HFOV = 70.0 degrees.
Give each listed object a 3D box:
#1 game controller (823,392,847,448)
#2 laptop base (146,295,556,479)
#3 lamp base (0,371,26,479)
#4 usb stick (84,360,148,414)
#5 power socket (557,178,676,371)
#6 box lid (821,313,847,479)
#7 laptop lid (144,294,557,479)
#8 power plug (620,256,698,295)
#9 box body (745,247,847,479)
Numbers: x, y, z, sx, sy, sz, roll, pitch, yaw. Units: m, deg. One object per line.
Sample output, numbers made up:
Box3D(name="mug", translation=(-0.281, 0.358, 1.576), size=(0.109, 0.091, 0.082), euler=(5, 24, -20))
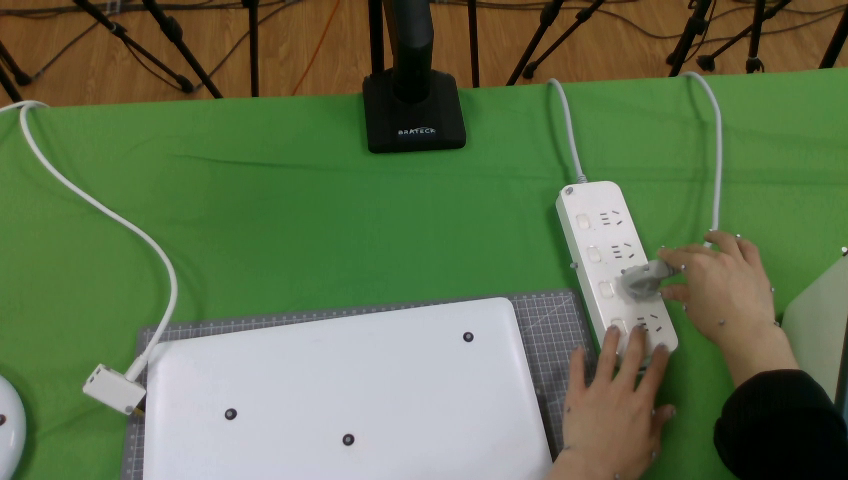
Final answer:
Box3D(name="game controller", translation=(0.420, 0.168, 0.490), size=(0.154, 0.052, 0.097), euler=(38, 59, 17))
Box3D(name="laptop base", translation=(-0.067, 0.179, 0.552), size=(0.355, 0.023, 0.233), euler=(-7, 65, -8))
Box3D(name="lamp base", translation=(-0.439, 0.135, 0.458), size=(0.178, 0.181, 0.159), euler=(19, 60, 10))
Box3D(name="usb stick", translation=(-0.269, 0.134, 0.542), size=(0.060, 0.021, 0.027), euler=(46, 70, -29))
Box3D(name="power socket", translation=(0.201, 0.027, 0.649), size=(0.072, 0.033, 0.224), euler=(-5, 60, -8))
Box3D(name="box lid", translation=(0.426, 0.160, 0.427), size=(0.262, 0.015, 0.369), euler=(24, 62, 11))
Box3D(name="laptop lid", translation=(-0.066, 0.175, 0.541), size=(0.357, 0.013, 0.239), euler=(-5, 63, -7))
Box3D(name="power plug", translation=(0.238, 0.040, 0.618), size=(0.072, 0.053, 0.035), euler=(5, 59, -2))
Box3D(name="box body", translation=(0.421, 0.199, 0.491), size=(0.253, 0.161, 0.362), euler=(25, 62, 10))
